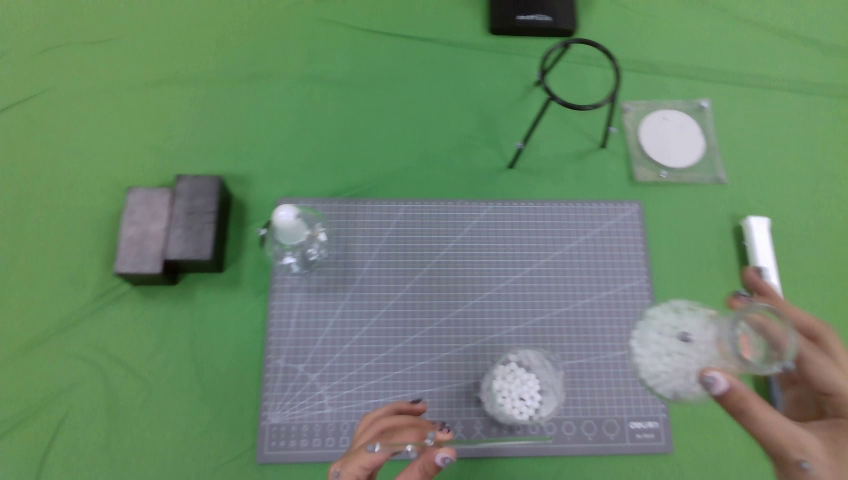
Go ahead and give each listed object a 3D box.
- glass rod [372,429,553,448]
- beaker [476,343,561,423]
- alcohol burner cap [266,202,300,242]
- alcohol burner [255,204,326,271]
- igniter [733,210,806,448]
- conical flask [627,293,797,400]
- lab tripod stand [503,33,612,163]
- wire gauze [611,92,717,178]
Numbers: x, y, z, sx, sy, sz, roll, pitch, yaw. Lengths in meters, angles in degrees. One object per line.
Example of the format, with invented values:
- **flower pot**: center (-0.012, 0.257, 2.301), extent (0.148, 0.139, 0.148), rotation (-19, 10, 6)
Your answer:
- **glass rod**: center (0.040, 0.153, 0.469), extent (0.201, 0.008, 0.008), rotation (13, 66, -41)
- **beaker**: center (0.096, 0.149, 0.630), extent (0.084, 0.101, 0.073), rotation (-42, 79, -15)
- **alcohol burner cap**: center (-0.146, -0.021, 0.622), extent (0.034, 0.048, 0.033), rotation (2, 65, -4)
- **alcohol burner**: center (-0.148, -0.008, 0.656), extent (0.078, 0.119, 0.077), rotation (0, 72, -1)
- **igniter**: center (0.401, 0.097, 0.706), extent (0.057, 0.025, 0.275), rotation (4, 72, -14)
- **conical flask**: center (0.178, 0.063, 0.375), extent (0.075, 0.122, 0.075), rotation (0, 77, 2)
- **lab tripod stand**: center (0.155, -0.164, 0.718), extent (0.148, 0.132, 0.147), rotation (1, 74, -3)
- **wire gauze**: center (0.312, -0.136, 0.785), extent (0.125, 0.011, 0.120), rotation (-1, 73, -6)
